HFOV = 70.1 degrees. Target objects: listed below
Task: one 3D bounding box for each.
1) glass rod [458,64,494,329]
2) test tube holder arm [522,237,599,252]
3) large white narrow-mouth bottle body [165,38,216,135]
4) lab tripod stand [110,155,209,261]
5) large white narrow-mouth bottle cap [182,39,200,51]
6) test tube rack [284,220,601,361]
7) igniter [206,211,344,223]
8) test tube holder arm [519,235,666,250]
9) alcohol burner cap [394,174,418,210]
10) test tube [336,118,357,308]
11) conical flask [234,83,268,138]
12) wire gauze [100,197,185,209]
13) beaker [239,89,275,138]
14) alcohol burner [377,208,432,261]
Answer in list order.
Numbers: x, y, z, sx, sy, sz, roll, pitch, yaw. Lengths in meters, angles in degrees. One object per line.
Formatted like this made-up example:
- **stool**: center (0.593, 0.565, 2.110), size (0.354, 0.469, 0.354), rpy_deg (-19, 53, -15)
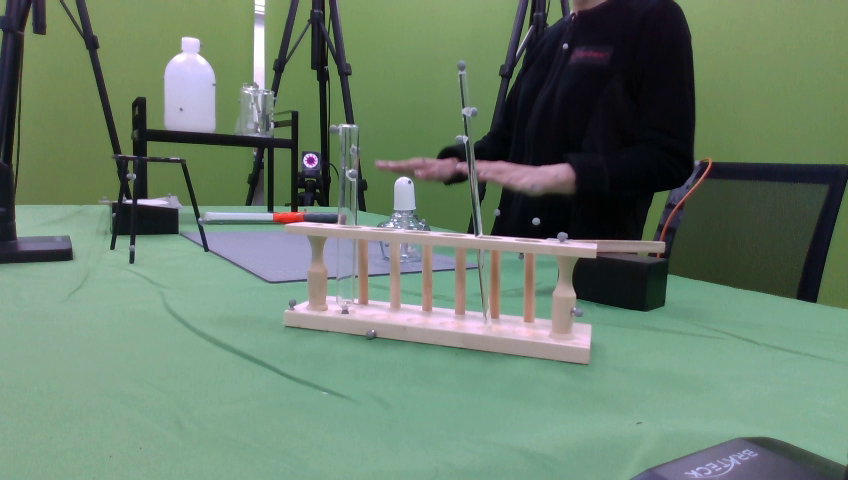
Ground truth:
- **glass rod**: center (0.039, -0.029, 0.449), size (0.008, 0.199, 0.008), rpy_deg (-7, 9, 1)
- **test tube holder arm**: center (0.144, 0.005, 0.636), size (0.088, 0.015, 0.010), rpy_deg (-1, 15, -19)
- **large white narrow-mouth bottle body**: center (-0.491, -0.322, 1.275), size (0.102, 0.194, 0.102), rpy_deg (2, 7, 0)
- **lab tripod stand**: center (-0.361, -0.046, 0.806), size (0.148, 0.131, 0.148), rpy_deg (2, 5, 0)
- **large white narrow-mouth bottle cap**: center (-0.488, -0.406, 1.266), size (0.038, 0.024, 0.037), rpy_deg (2, 7, 0)
- **test tube rack**: center (0.013, 0.032, 0.482), size (0.242, 0.085, 0.067), rpy_deg (4, 7, 16)
- **igniter**: center (-0.302, -0.048, 1.249), size (0.278, 0.025, 0.057), rpy_deg (-2, -2, -27)
- **test tube holder arm**: center (0.186, 0.003, 0.655), size (0.179, 0.015, 0.013), rpy_deg (-1, 15, -19)
- **alcohol burner cap**: center (-0.026, -0.067, 0.833), size (0.034, 0.048, 0.034), rpy_deg (-1, 12, 1)
- **test tube**: center (-0.061, -0.019, 0.476), size (0.017, 0.150, 0.017), rpy_deg (2, 11, 0)
- **conical flask**: center (-0.399, -0.298, 1.396), size (0.075, 0.122, 0.075), rpy_deg (2, 8, 0)
- **wire gauze**: center (-0.469, -0.062, 1.008), size (0.126, 0.011, 0.121), rpy_deg (-2, 8, -25)
- **beaker**: center (-0.361, -0.273, 1.307), size (0.074, 0.100, 0.084), rpy_deg (1, 8, -11)
- **alcohol burner**: center (-0.027, -0.031, 0.838), size (0.078, 0.119, 0.078), rpy_deg (0, 6, 0)
